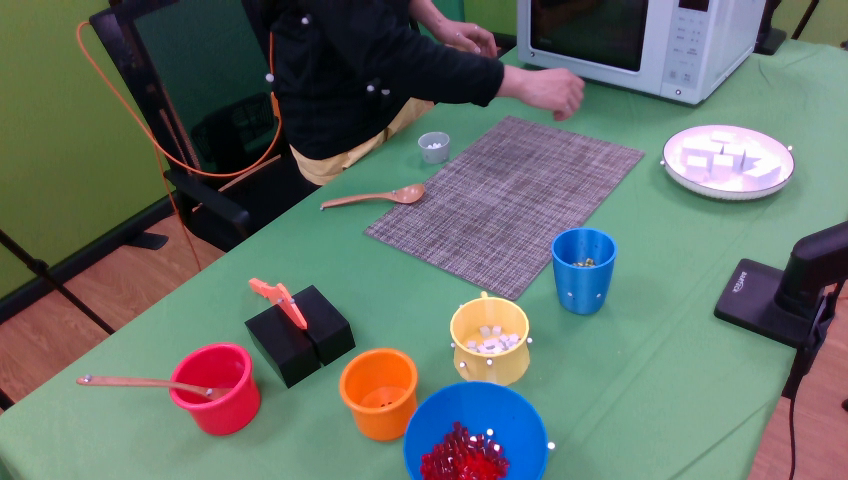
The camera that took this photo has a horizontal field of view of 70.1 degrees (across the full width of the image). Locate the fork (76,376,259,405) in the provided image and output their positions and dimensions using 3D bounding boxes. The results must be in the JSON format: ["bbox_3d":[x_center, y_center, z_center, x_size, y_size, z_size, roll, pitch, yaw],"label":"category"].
[{"bbox_3d":[-0.295,0.176,0.716,0.209,0.018,0.028,19,26,-36],"label":"fork"}]

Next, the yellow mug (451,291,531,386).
[{"bbox_3d":[0.085,0.120,0.786,0.100,0.064,0.130,-7,39,1],"label":"yellow mug"}]

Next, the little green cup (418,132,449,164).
[{"bbox_3d":[0.020,-0.177,1.168,0.061,0.039,0.061,-3,41,3],"label":"little green cup"}]

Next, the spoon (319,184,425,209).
[{"bbox_3d":[-0.094,-0.076,1.074,0.193,0.022,0.041,-5,56,5],"label":"spoon"}]

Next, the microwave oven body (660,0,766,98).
[{"bbox_3d":[0.472,-0.513,1.317,0.438,0.261,0.327,26,51,34],"label":"microwave oven body"}]

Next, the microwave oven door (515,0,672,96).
[{"bbox_3d":[0.344,-0.455,1.260,0.353,0.245,0.039,26,51,33],"label":"microwave oven door"}]

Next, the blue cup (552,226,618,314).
[{"bbox_3d":[0.218,0.047,0.825,0.092,0.100,0.092,-6,40,5],"label":"blue cup"}]

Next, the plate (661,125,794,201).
[{"bbox_3d":[0.513,-0.128,1.035,0.207,0.039,0.206,-4,40,4],"label":"plate"}]

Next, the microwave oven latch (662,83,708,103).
[{"bbox_3d":[0.519,-0.297,1.204,0.078,0.029,0.030,29,53,36],"label":"microwave oven latch"}]

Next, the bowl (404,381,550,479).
[{"bbox_3d":[0.058,0.235,0.645,0.151,0.077,0.150,-4,39,4],"label":"bowl"}]

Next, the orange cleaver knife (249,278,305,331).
[{"bbox_3d":[-0.210,0.089,0.856,0.012,0.077,0.210,-28,15,-25],"label":"orange cleaver knife"}]
